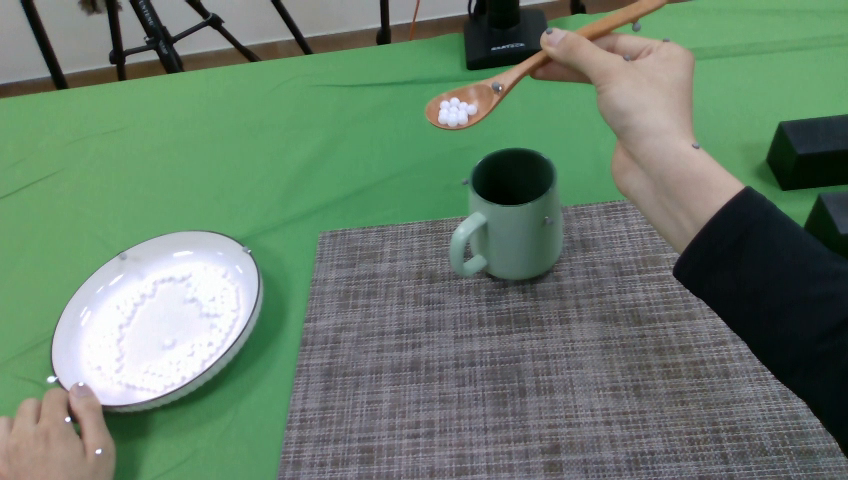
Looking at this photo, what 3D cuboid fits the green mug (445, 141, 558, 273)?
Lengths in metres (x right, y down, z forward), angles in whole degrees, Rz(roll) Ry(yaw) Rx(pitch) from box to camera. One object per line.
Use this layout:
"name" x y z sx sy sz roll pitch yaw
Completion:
"green mug" 0.069 -0.019 0.570 0.125 0.106 0.091 -39 54 -21

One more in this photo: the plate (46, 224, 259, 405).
"plate" -0.263 0.072 0.605 0.209 0.038 0.207 -5 49 6

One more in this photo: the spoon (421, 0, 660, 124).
"spoon" 0.086 -0.137 0.445 0.193 0.022 0.041 -28 55 10
